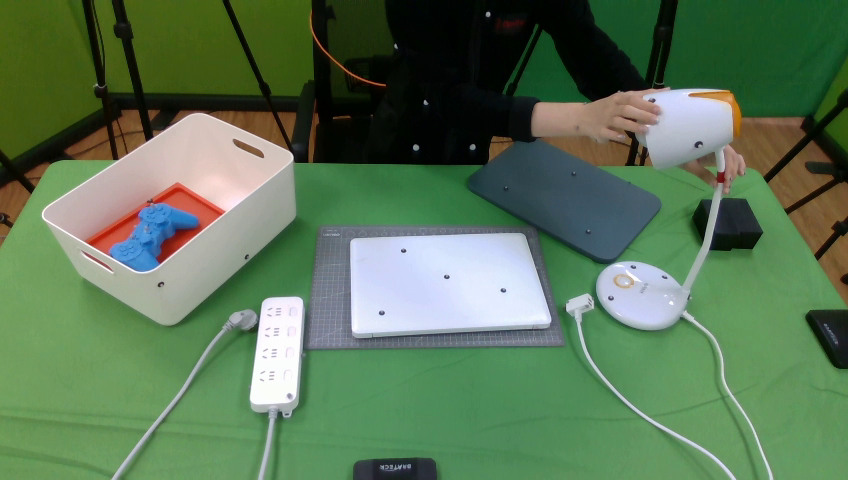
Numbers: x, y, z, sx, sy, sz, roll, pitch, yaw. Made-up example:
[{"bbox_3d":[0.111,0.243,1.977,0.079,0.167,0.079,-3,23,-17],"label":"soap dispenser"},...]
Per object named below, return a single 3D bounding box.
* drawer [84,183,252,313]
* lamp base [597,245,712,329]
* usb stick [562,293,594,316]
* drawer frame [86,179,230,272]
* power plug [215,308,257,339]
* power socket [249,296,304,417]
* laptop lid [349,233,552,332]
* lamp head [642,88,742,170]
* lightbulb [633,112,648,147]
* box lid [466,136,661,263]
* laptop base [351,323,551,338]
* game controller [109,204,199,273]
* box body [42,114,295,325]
[{"bbox_3d":[-0.457,0.008,1.099,0.194,0.073,0.211,29,49,21],"label":"drawer"},{"bbox_3d":[0.418,0.051,1.072,0.179,0.181,0.160,22,49,13],"label":"lamp base"},{"bbox_3d":[0.274,0.118,1.087,0.021,0.059,0.027,40,44,-28],"label":"usb stick"},{"bbox_3d":[-0.453,0.010,1.100,0.201,0.083,0.213,28,55,22],"label":"drawer frame"},{"bbox_3d":[-0.317,0.143,1.024,0.072,0.053,0.035,-33,58,-8],"label":"power plug"},{"bbox_3d":[-0.239,0.182,0.996,0.072,0.033,0.225,-2,47,-5],"label":"power socket"},{"bbox_3d":[0.040,0.070,1.119,0.357,0.013,0.240,-1,44,-5],"label":"laptop lid"},{"bbox_3d":[0.378,-0.160,0.852,0.122,0.113,0.112,-5,41,26],"label":"lamp head"},{"bbox_3d":[0.347,-0.164,0.853,0.059,0.060,0.107,-36,18,-32],"label":"lightbulb"},{"bbox_3d":[0.306,-0.102,1.327,0.370,0.015,0.263,32,52,25],"label":"box lid"},{"bbox_3d":[0.040,0.080,1.126,0.355,0.023,0.234,-2,43,-6],"label":"laptop base"},{"bbox_3d":[-0.467,-0.005,1.044,0.097,0.052,0.154,8,45,10],"label":"game controller"},{"bbox_3d":[-0.437,-0.046,1.110,0.253,0.161,0.363,24,49,19],"label":"box body"}]
